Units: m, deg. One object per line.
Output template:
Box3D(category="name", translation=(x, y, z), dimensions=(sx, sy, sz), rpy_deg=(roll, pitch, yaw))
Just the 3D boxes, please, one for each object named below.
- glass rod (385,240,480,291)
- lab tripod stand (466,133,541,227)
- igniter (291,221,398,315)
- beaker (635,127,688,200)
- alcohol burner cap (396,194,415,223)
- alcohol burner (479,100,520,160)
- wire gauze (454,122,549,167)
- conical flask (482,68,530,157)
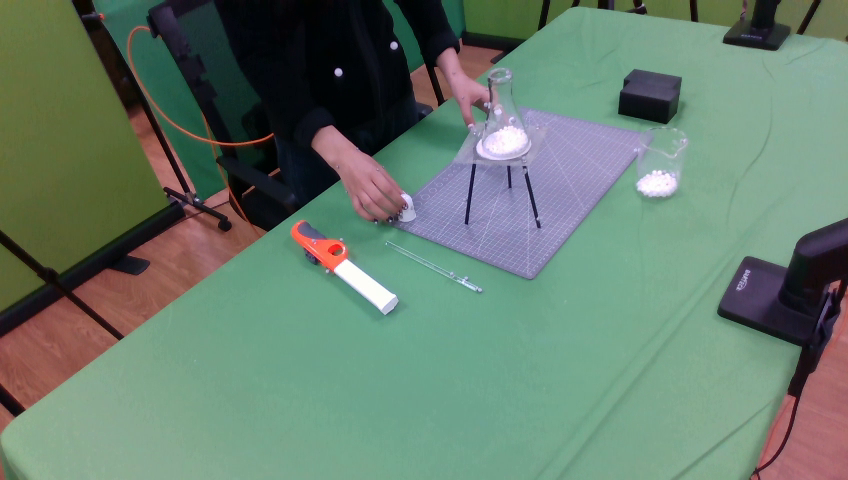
Box3D(category="glass rod", translation=(0.009, 0.037, 0.950), dimensions=(0.198, 0.008, 0.008), rpy_deg=(26, 52, 35))
Box3D(category="lab tripod stand", translation=(0.130, -0.099, 0.985), dimensions=(0.148, 0.132, 0.147), rpy_deg=(-6, 38, 6))
Box3D(category="igniter", translation=(-0.136, 0.037, 0.962), dimensions=(0.057, 0.025, 0.274), rpy_deg=(-41, 48, -18))
Box3D(category="beaker", translation=(0.388, -0.122, 0.994), dimensions=(0.074, 0.101, 0.083), rpy_deg=(-8, 40, 2))
Box3D(category="alcohol burner cap", translation=(-0.033, -0.055, 1.035), dimensions=(0.034, 0.048, 0.033), rpy_deg=(-4, 30, 2))
Box3D(category="alcohol burner", translation=(0.139, -0.206, 1.126), dimensions=(0.078, 0.120, 0.077), rpy_deg=(-7, 41, 7))
Box3D(category="wire gauze", translation=(0.122, -0.149, 0.943), dimensions=(0.121, 0.011, 0.125), rpy_deg=(7, 44, 22))
Box3D(category="conical flask", translation=(0.118, -0.192, 0.902), dimensions=(0.075, 0.122, 0.075), rpy_deg=(-7, 39, 6))
